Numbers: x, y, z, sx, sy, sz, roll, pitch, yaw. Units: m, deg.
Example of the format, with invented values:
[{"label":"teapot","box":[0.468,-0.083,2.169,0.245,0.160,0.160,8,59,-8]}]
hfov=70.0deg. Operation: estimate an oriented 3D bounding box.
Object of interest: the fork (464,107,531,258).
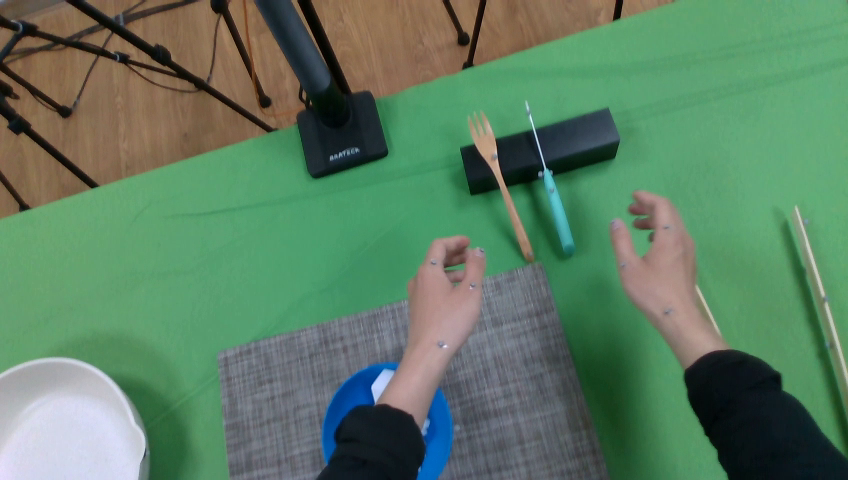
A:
[{"label":"fork","box":[0.099,-0.073,0.788,0.028,0.018,0.207,-21,89,-1]}]

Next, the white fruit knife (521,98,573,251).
[{"label":"white fruit knife","box":[0.156,-0.086,0.782,0.016,0.027,0.207,-17,86,9]}]

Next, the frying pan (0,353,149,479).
[{"label":"frying pan","box":[-0.453,0.379,0.713,0.307,0.104,0.483,-18,61,4]}]

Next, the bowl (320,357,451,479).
[{"label":"bowl","box":[-0.038,0.218,0.710,0.151,0.077,0.150,-3,71,8]}]

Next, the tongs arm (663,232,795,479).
[{"label":"tongs arm","box":[0.369,0.160,0.696,0.028,0.028,0.384,-21,69,0]}]

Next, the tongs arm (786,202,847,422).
[{"label":"tongs arm","box":[0.447,0.140,0.684,0.051,0.027,0.382,-9,71,8]}]
